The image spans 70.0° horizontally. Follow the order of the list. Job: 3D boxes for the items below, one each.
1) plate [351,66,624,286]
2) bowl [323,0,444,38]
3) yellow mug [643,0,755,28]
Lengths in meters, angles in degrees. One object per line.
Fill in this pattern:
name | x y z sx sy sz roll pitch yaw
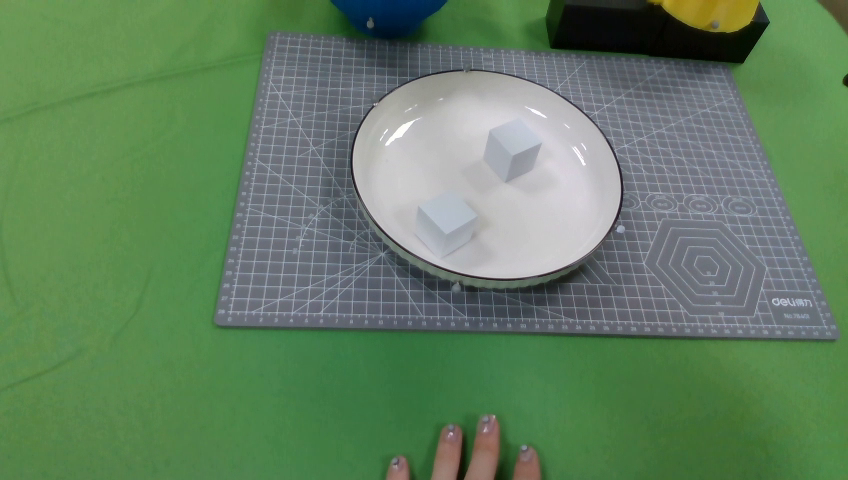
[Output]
plate | 0.048 -0.051 0.472 0.208 0.039 0.205 3 57 -4
bowl | -0.040 -0.245 0.567 0.151 0.077 0.150 3 57 -4
yellow mug | 0.251 -0.249 0.551 0.131 0.064 0.099 -12 59 -13
